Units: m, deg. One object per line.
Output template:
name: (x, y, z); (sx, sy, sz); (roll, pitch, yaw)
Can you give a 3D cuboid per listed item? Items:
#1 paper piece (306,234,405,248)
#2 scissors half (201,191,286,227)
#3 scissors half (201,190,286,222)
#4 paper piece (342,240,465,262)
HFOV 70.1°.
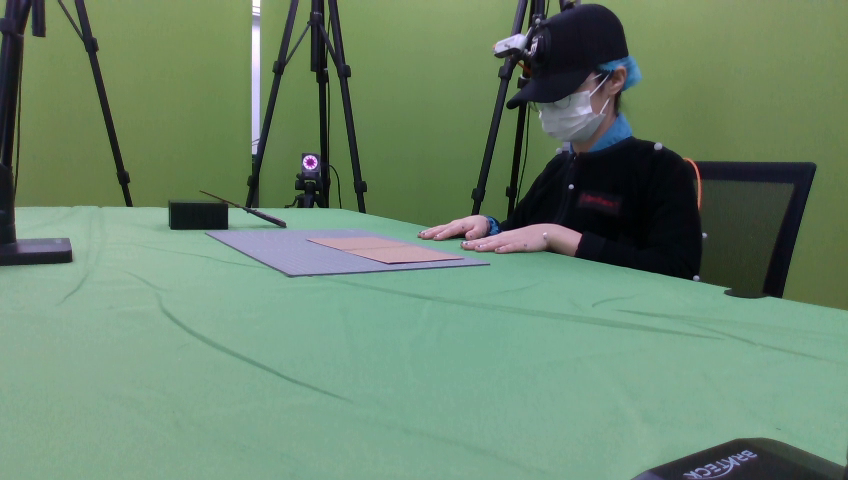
paper piece: (-0.110, 0.000, 1.015); (0.136, 0.004, 0.135); (-4, 9, -35)
scissors half: (-0.358, -0.064, 1.206); (0.175, 0.013, 0.040); (23, 1, -10)
scissors half: (-0.364, -0.068, 1.225); (0.176, 0.013, 0.040); (22, 6, -27)
paper piece: (-0.033, 0.017, 0.908); (0.137, 0.008, 0.137); (-7, 12, -34)
